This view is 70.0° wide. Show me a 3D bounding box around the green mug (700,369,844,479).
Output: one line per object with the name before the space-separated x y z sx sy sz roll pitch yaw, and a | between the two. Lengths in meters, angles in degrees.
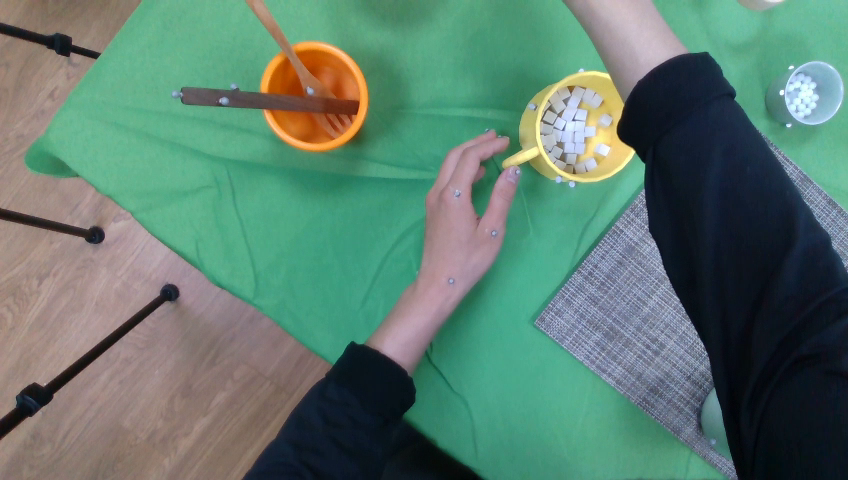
green mug | 0.357 0.176 0.612 0.125 0.104 0.093 -35 98 1

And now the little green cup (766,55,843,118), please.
little green cup | 0.379 -0.151 0.608 0.061 0.038 0.061 0 97 -3

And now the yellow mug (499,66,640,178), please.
yellow mug | 0.133 -0.104 0.581 0.131 0.064 0.100 -26 99 0

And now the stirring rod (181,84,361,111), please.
stirring rod | -0.123 -0.121 0.521 0.177 0.006 0.014 -9 102 -45

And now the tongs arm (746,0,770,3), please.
tongs arm | 0.231 -0.391 0.533 0.051 0.026 0.385 -23 97 -5

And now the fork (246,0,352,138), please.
fork | -0.116 -0.163 0.510 0.028 0.018 0.209 -36 141 -1
